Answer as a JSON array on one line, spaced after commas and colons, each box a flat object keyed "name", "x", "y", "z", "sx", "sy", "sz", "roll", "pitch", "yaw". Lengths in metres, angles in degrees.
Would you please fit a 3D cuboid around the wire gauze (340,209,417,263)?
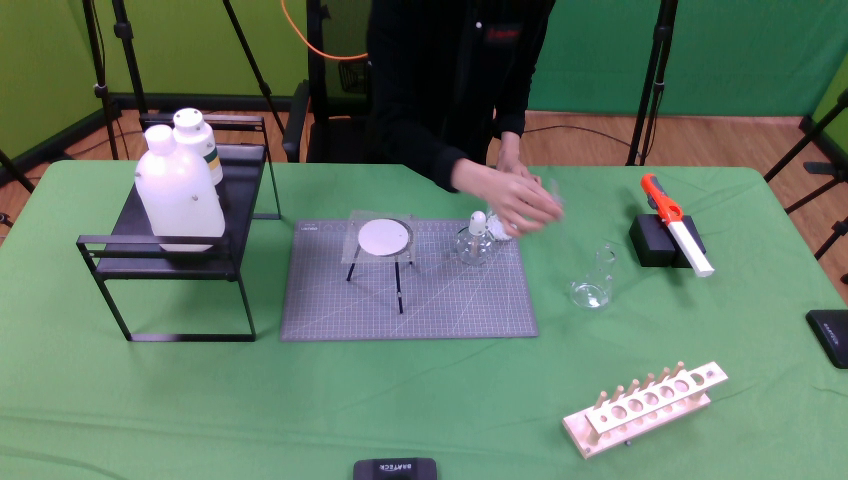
[{"name": "wire gauze", "x": -0.074, "y": -0.006, "z": 1.023, "sx": 0.121, "sy": 0.011, "sz": 0.124, "roll": 3, "pitch": 46, "yaw": 0}]

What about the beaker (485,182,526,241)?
[{"name": "beaker", "x": 0.159, "y": -0.055, "z": 1.204, "sx": 0.074, "sy": 0.101, "sz": 0.084, "roll": 24, "pitch": 48, "yaw": 17}]

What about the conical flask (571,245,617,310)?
[{"name": "conical flask", "x": 0.313, "y": 0.064, "z": 1.089, "sx": 0.075, "sy": 0.122, "sz": 0.075, "roll": 2, "pitch": 46, "yaw": -2}]

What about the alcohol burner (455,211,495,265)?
[{"name": "alcohol burner", "x": 0.097, "y": -0.009, "z": 1.146, "sx": 0.078, "sy": 0.120, "sz": 0.077, "roll": 1, "pitch": 48, "yaw": 0}]

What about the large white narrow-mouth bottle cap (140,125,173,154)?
[{"name": "large white narrow-mouth bottle cap", "x": -0.357, "y": -0.135, "z": 0.810, "sx": 0.038, "sy": 0.024, "sz": 0.037, "roll": 1, "pitch": 47, "yaw": -1}]

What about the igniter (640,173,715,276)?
[{"name": "igniter", "x": 0.495, "y": -0.039, "z": 1.204, "sx": 0.057, "sy": 0.025, "sz": 0.274, "roll": -2, "pitch": 47, "yaw": -12}]

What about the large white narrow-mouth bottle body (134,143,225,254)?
[{"name": "large white narrow-mouth bottle body", "x": -0.358, "y": -0.075, "z": 0.875, "sx": 0.102, "sy": 0.195, "sz": 0.101, "roll": 1, "pitch": 47, "yaw": -1}]

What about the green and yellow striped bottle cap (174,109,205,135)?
[{"name": "green and yellow striped bottle cap", "x": -0.369, "y": -0.186, "z": 0.954, "sx": 0.045, "sy": 0.020, "sz": 0.045, "roll": 3, "pitch": 49, "yaw": -3}]

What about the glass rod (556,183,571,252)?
[{"name": "glass rod", "x": 0.209, "y": -0.029, "z": 0.905, "sx": 0.008, "sy": 0.201, "sz": 0.008, "roll": -8, "pitch": 60, "yaw": 14}]

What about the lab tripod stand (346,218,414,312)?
[{"name": "lab tripod stand", "x": -0.070, "y": 0.037, "z": 1.075, "sx": 0.148, "sy": 0.132, "sz": 0.147, "roll": 1, "pitch": 47, "yaw": -1}]

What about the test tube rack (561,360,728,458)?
[{"name": "test tube rack", "x": 0.341, "y": 0.248, "z": 0.940, "sx": 0.243, "sy": 0.085, "sz": 0.066, "roll": -15, "pitch": 48, "yaw": -18}]

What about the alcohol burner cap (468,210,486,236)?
[{"name": "alcohol burner cap", "x": 0.099, "y": -0.034, "z": 1.119, "sx": 0.034, "sy": 0.048, "sz": 0.033, "roll": 0, "pitch": 53, "yaw": 0}]

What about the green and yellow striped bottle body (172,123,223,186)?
[{"name": "green and yellow striped bottle body", "x": -0.373, "y": -0.148, "z": 0.994, "sx": 0.063, "sy": 0.120, "sz": 0.063, "roll": 2, "pitch": 46, "yaw": -2}]
